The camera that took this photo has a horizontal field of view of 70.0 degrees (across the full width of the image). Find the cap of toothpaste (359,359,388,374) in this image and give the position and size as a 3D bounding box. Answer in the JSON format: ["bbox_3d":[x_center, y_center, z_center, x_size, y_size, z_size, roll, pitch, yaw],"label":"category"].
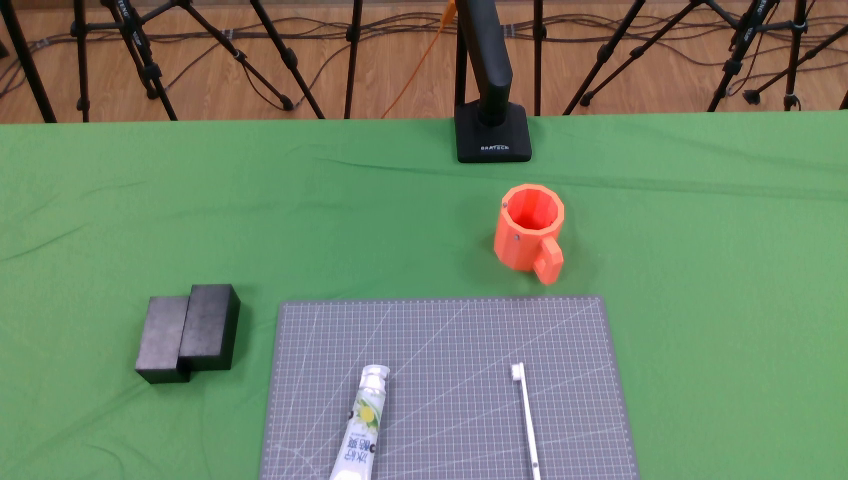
[{"bbox_3d":[-0.064,0.161,0.767,0.037,0.037,0.011,0,56,-1],"label":"cap of toothpaste"}]

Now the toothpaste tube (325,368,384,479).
[{"bbox_3d":[-0.080,0.232,0.731,0.055,0.035,0.164,6,62,11],"label":"toothpaste tube"}]

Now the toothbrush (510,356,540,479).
[{"bbox_3d":[0.126,0.229,0.744,0.016,0.014,0.180,-5,59,0],"label":"toothbrush"}]

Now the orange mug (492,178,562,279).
[{"bbox_3d":[0.150,-0.011,0.845,0.083,0.102,0.125,-20,56,-12],"label":"orange mug"}]
